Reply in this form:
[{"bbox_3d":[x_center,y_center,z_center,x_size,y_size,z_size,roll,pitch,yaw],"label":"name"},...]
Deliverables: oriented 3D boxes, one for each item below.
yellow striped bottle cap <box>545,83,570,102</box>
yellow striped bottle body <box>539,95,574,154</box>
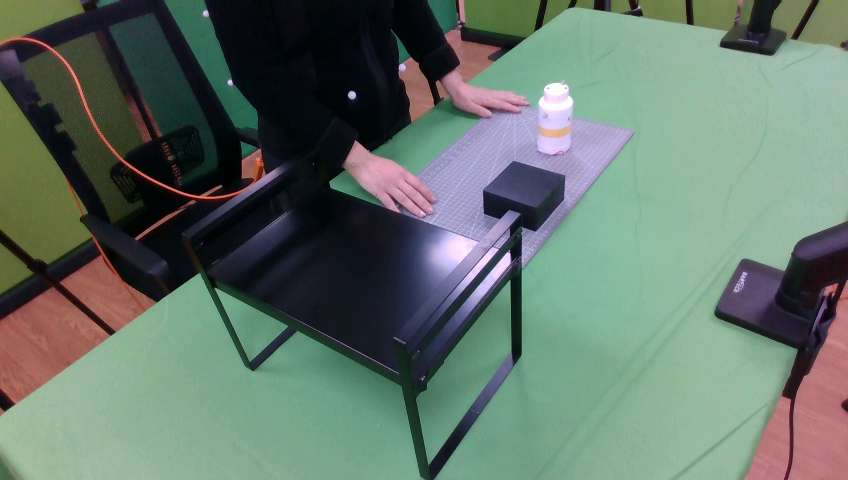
[{"bbox_3d":[0.240,-0.266,1.089,0.044,0.019,0.044,-4,37,4],"label":"yellow striped bottle cap"},{"bbox_3d":[0.245,-0.227,1.123,0.063,0.121,0.062,-5,41,5],"label":"yellow striped bottle body"}]
